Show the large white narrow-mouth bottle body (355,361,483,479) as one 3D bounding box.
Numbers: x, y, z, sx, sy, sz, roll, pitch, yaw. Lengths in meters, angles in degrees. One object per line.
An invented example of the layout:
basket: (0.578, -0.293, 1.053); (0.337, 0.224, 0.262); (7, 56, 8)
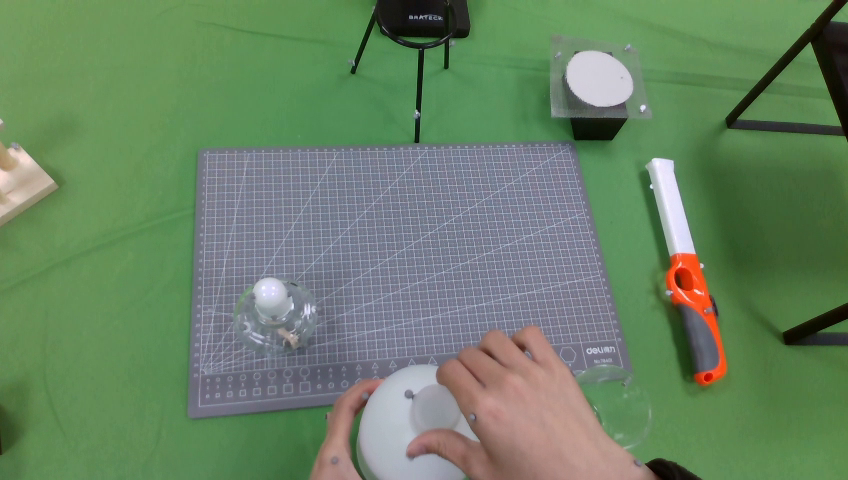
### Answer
large white narrow-mouth bottle body: (-0.005, 0.155, 0.502); (0.102, 0.196, 0.101); (3, 64, -7)

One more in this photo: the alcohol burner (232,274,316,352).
alcohol burner: (-0.140, 0.062, 0.565); (0.078, 0.120, 0.077); (4, 64, -8)

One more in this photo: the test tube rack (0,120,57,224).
test tube rack: (-0.490, -0.021, 0.568); (0.066, 0.085, 0.242); (42, 67, 11)

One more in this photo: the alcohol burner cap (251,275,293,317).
alcohol burner cap: (-0.135, 0.048, 0.532); (0.034, 0.048, 0.033); (2, 71, -4)

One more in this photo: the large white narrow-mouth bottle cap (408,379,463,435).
large white narrow-mouth bottle cap: (0.007, 0.116, 0.423); (0.038, 0.024, 0.037); (3, 65, -7)

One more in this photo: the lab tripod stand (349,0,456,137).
lab tripod stand: (-0.016, -0.215, 0.703); (0.149, 0.132, 0.147); (4, 66, -9)

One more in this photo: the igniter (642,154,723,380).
igniter: (0.296, 0.023, 0.700); (0.057, 0.025, 0.274); (4, 66, -18)

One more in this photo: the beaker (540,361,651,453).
beaker: (0.155, 0.161, 0.577); (0.084, 0.101, 0.073); (28, 65, 6)

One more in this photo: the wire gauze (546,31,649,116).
wire gauze: (0.210, -0.203, 0.746); (0.122, 0.011, 0.124); (4, 65, -7)
